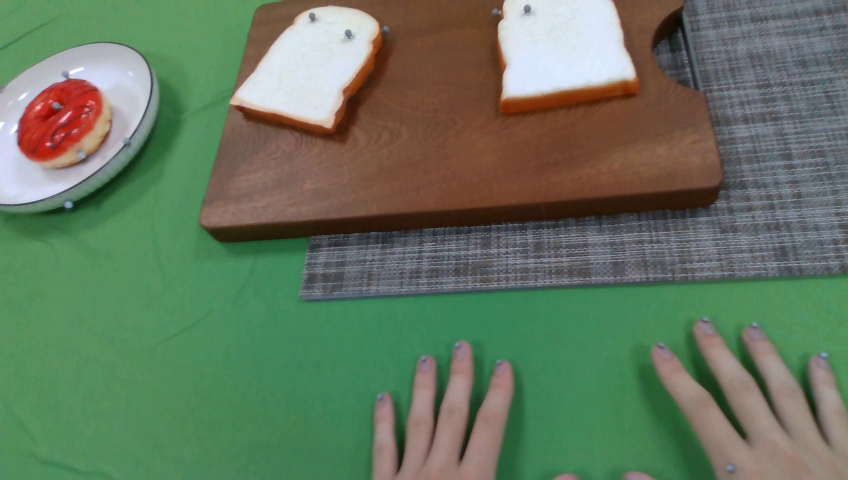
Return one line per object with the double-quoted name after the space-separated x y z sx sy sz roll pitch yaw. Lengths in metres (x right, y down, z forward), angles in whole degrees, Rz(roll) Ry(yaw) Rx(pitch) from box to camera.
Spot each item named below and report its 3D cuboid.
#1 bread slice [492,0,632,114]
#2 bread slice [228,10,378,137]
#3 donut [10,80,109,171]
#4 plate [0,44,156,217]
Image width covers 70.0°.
0.106 -0.164 0.498 0.105 0.019 0.130 -7 61 9 "bread slice"
-0.102 -0.154 0.545 0.106 0.018 0.133 14 66 21 "bread slice"
-0.357 -0.112 0.593 0.099 0.049 0.098 -7 60 13 "donut"
-0.359 -0.108 0.604 0.209 0.038 0.207 -6 60 11 "plate"
